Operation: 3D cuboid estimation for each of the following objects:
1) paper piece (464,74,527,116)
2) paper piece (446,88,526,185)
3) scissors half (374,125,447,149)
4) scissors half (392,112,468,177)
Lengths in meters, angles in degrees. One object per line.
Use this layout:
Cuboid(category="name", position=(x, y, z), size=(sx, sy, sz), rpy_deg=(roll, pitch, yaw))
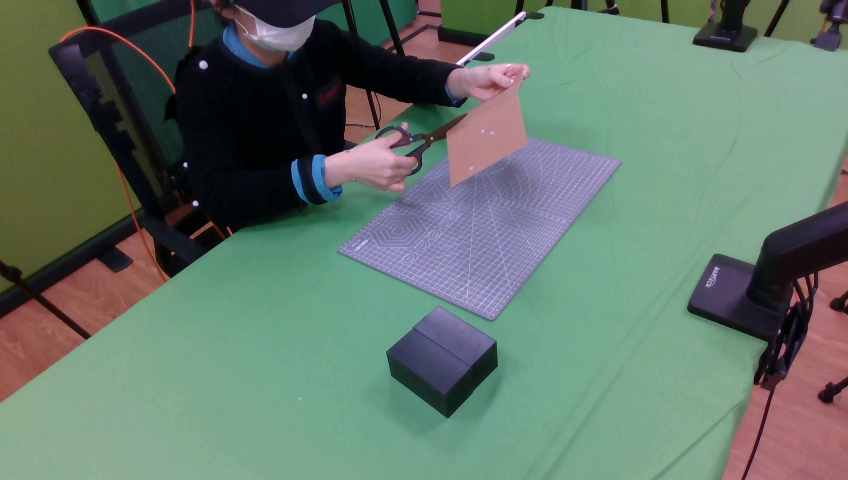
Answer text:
Cuboid(category="paper piece", position=(0.108, -0.236, 1.028), size=(0.135, 0.009, 0.138), rpy_deg=(-24, 14, 25))
Cuboid(category="paper piece", position=(0.090, -0.160, 0.924), size=(0.135, 0.004, 0.135), rpy_deg=(-27, 42, 26))
Cuboid(category="scissors half", position=(-0.002, -0.178, 1.006), size=(0.174, 0.040, 0.013), rpy_deg=(-4, 36, 16))
Cuboid(category="scissors half", position=(0.010, -0.160, 1.016), size=(0.174, 0.040, 0.013), rpy_deg=(-39, 16, 32))
